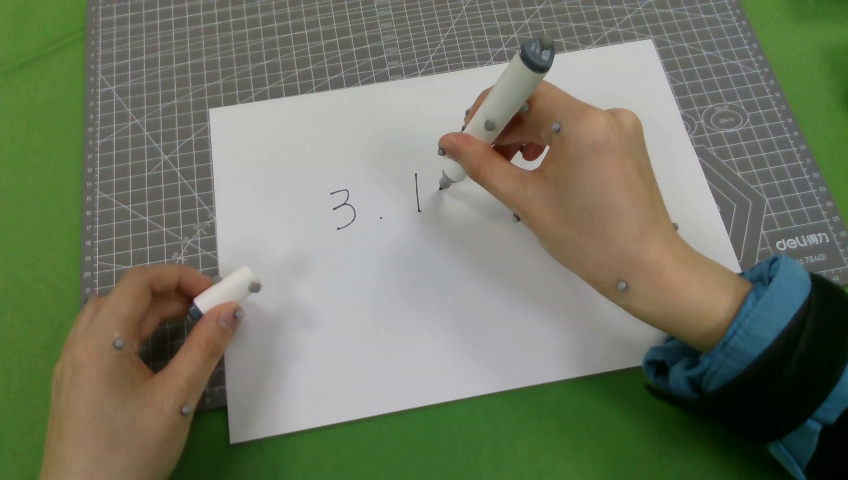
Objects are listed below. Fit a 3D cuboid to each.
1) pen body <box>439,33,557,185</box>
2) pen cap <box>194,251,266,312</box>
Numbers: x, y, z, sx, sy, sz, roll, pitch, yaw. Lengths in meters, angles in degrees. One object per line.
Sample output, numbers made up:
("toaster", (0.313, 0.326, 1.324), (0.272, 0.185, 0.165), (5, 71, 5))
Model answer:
("pen body", (0.029, -0.055, 0.305), (0.017, 0.144, 0.017), (4, 72, -14))
("pen cap", (-0.103, 0.023, 0.319), (0.038, 0.017, 0.017), (-34, 71, 10))
